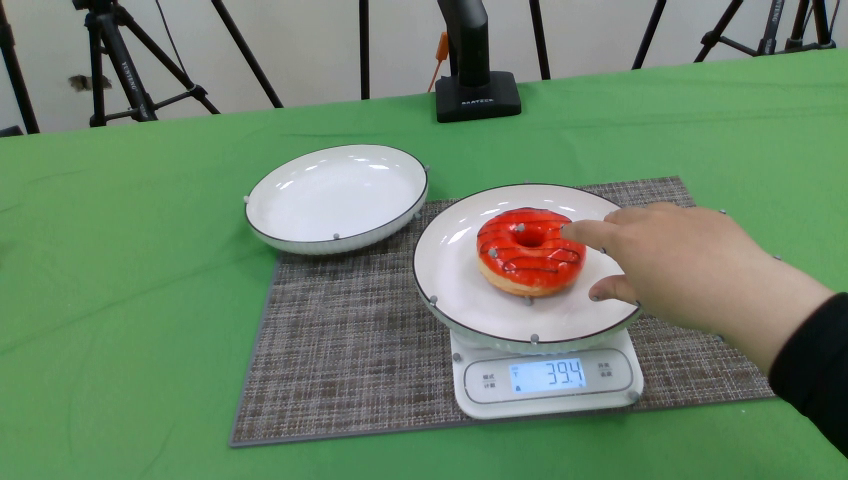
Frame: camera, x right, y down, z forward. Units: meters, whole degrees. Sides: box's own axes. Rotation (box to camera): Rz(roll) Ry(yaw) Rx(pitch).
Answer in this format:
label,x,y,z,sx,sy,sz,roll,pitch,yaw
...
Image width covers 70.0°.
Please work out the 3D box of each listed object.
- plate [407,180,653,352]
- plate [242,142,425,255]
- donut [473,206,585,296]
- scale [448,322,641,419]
label,x,y,z,sx,sy,sz,roll,pitch,yaw
plate,0.090,0.022,0.534,0.207,0.039,0.205,-4,40,4
plate,-0.101,-0.047,0.696,0.209,0.038,0.207,-5,38,5
donut,0.091,0.009,0.530,0.099,0.049,0.098,-2,41,2
scale,0.095,0.061,0.537,0.148,0.032,0.199,-6,40,3
